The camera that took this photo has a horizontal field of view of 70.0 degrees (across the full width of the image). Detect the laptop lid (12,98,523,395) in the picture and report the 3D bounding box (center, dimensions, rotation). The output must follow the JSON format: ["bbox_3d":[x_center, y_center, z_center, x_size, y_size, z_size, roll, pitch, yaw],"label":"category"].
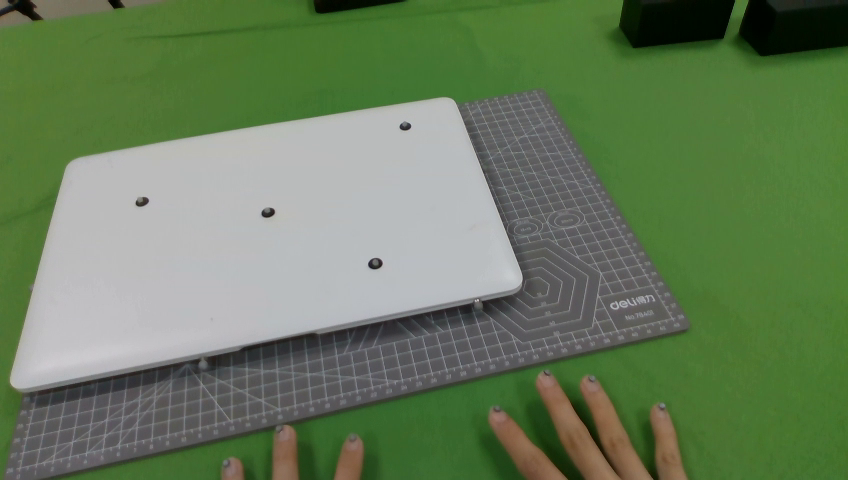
[{"bbox_3d":[-0.121,-0.016,0.482,0.357,0.013,0.239,-10,50,-4],"label":"laptop lid"}]

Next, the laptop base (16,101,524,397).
[{"bbox_3d":[-0.121,-0.010,0.492,0.355,0.023,0.233,-11,52,-5],"label":"laptop base"}]
